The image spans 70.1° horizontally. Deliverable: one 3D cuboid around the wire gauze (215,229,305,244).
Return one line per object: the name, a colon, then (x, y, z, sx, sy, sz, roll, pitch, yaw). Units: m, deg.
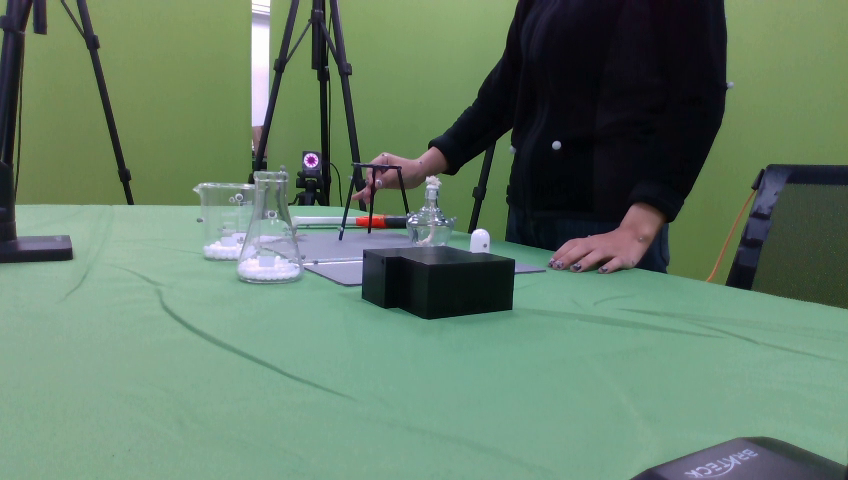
wire gauze: (-0.273, -0.009, 1.012, 0.122, 0.011, 0.124, -2, 9, -33)

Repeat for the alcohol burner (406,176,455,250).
alcohol burner: (0.012, -0.044, 0.963, 0.078, 0.119, 0.078, 4, 6, 0)

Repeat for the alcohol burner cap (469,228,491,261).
alcohol burner cap: (0.082, 0.006, 0.878, 0.034, 0.048, 0.034, 3, 6, 0)

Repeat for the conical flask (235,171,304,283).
conical flask: (-0.172, -0.016, 0.677, 0.075, 0.122, 0.075, 2, 7, 0)

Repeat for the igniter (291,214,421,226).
igniter: (-0.135, -0.040, 1.250, 0.278, 0.025, 0.057, -2, -2, -28)

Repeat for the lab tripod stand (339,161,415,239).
lab tripod stand: (-0.082, -0.070, 1.059, 0.148, 0.131, 0.148, 4, 6, 0)

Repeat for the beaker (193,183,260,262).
beaker: (-0.262, -0.025, 0.806, 0.084, 0.100, 0.073, -3, 9, -30)

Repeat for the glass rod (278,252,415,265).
glass rod: (-0.097, 0.024, 0.805, 0.201, 0.008, 0.008, -3, 8, -33)
